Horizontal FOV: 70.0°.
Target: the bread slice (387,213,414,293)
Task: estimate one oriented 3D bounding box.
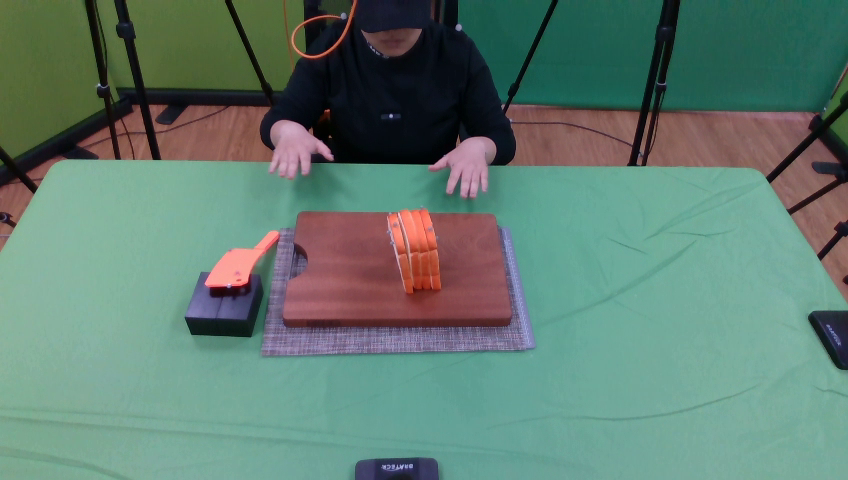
[{"bbox_3d":[-0.043,0.016,1.067,0.019,0.132,0.104,-15,46,-4],"label":"bread slice"}]

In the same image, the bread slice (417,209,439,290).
[{"bbox_3d":[0.007,0.012,1.073,0.018,0.135,0.106,-11,51,-7],"label":"bread slice"}]

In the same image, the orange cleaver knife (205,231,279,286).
[{"bbox_3d":[-0.328,0.031,1.109,0.077,0.012,0.210,5,27,7],"label":"orange cleaver knife"}]
